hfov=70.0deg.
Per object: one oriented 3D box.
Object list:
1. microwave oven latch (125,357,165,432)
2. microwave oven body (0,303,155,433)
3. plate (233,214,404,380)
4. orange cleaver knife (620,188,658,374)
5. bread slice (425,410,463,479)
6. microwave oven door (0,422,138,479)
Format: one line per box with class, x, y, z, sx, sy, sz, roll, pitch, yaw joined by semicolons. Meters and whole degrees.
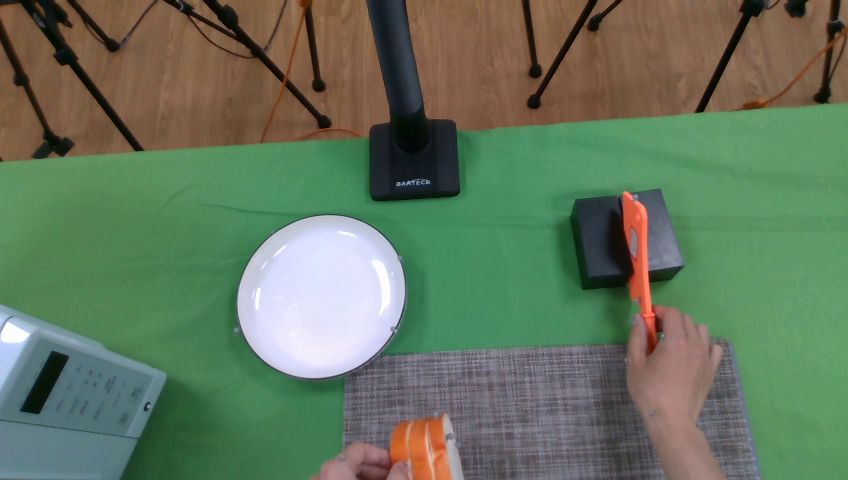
microwave oven latch;-0.328;0.177;0.697;0.030;0.030;0.079;18;72;10
microwave oven body;-0.533;0.260;0.577;0.325;0.262;0.439;16;72;10
plate;-0.126;0.069;0.742;0.207;0.039;0.206;-1;69;4
orange cleaver knife;0.244;0.046;0.694;0.012;0.077;0.212;-8;98;1
bread slice;0.025;0.241;0.610;0.018;0.107;0.134;-13;82;4
microwave oven door;-0.408;0.335;0.533;0.039;0.245;0.354;16;71;11
